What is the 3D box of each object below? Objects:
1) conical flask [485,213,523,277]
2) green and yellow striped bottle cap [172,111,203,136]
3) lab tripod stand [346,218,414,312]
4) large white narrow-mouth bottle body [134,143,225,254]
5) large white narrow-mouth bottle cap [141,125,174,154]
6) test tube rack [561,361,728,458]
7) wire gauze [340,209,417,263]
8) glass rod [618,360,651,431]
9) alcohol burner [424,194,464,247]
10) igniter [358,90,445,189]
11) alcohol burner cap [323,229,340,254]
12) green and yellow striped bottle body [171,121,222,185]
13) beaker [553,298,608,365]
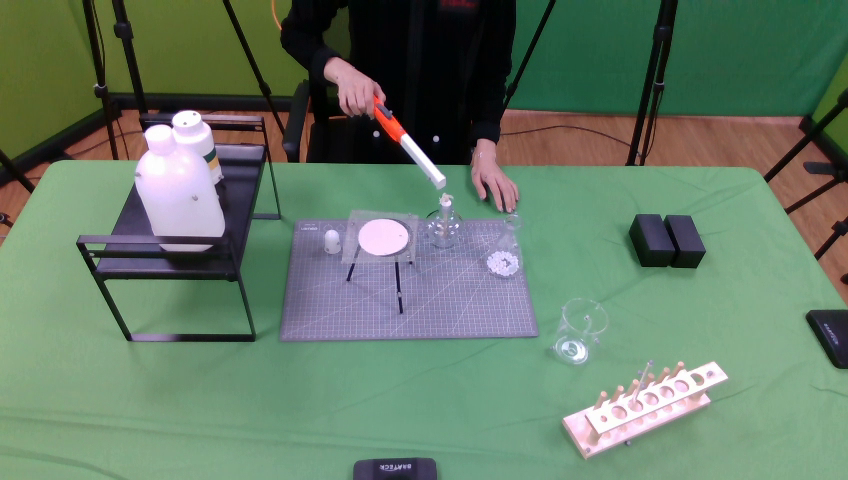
[{"bbox_3d":[0.157,0.007,1.129,0.075,0.122,0.075,2,46,-2],"label":"conical flask"},{"bbox_3d":[-0.374,-0.185,0.958,0.045,0.020,0.045,3,46,-3],"label":"green and yellow striped bottle cap"},{"bbox_3d":[-0.070,0.037,1.075,0.148,0.132,0.147,1,48,-1],"label":"lab tripod stand"},{"bbox_3d":[-0.358,-0.075,0.875,0.102,0.195,0.101,1,47,-1],"label":"large white narrow-mouth bottle body"},{"bbox_3d":[-0.356,-0.134,0.810,0.038,0.024,0.037,1,47,-1],"label":"large white narrow-mouth bottle cap"},{"bbox_3d":[0.341,0.248,0.940,0.243,0.085,0.066,-15,49,-18],"label":"test tube rack"},{"bbox_3d":[-0.074,-0.007,1.023,0.121,0.011,0.124,3,46,0],"label":"wire gauze"},{"bbox_3d":[0.298,0.227,0.865,0.008,0.201,0.008,-1,48,2],"label":"glass rod"},{"bbox_3d":[0.039,-0.043,1.175,0.078,0.120,0.077,1,48,-1],"label":"alcohol burner"},{"bbox_3d":[-0.048,-0.201,1.177,0.025,0.057,0.275,-32,66,-18],"label":"igniter"},{"bbox_3d":[-0.179,0.001,1.165,0.034,0.048,0.033,2,45,-2],"label":"alcohol burner cap"},{"bbox_3d":[-0.375,-0.149,0.995,0.063,0.120,0.063,2,46,-2],"label":"green and yellow striped bottle body"},{"bbox_3d":[0.260,0.154,1.015,0.073,0.101,0.084,37,54,27],"label":"beaker"}]
